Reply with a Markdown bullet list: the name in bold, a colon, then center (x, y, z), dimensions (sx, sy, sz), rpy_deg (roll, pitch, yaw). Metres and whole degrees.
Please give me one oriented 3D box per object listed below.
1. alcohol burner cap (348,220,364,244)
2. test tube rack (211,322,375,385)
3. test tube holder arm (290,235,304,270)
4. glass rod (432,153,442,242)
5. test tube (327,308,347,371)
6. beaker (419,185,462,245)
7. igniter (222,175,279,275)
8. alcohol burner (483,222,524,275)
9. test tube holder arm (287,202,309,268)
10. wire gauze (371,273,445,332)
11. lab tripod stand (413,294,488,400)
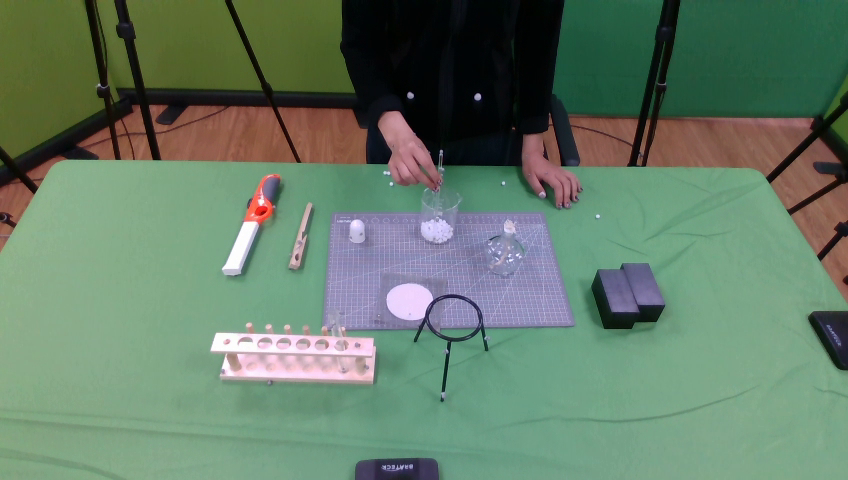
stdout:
- **alcohol burner cap**: center (-0.134, -0.019, 1.190), dimensions (0.034, 0.048, 0.033), rpy_deg (2, 46, -2)
- **test tube rack**: center (-0.202, 0.176, 0.969), dimensions (0.242, 0.085, 0.066), rpy_deg (3, 46, -2)
- **test tube holder arm**: center (-0.243, 0.021, 1.164), dimensions (0.010, 0.015, 0.087), rpy_deg (30, 39, -26)
- **glass rod**: center (0.024, -0.076, 1.142), dimensions (0.008, 0.200, 0.008), rpy_deg (3, 37, -2)
- **test tube**: center (-0.132, 0.155, 0.926), dimensions (0.017, 0.151, 0.017), rpy_deg (0, 45, 0)
- **beaker**: center (0.029, -0.047, 1.191), dimensions (0.084, 0.101, 0.073), rpy_deg (-5, 47, -10)
- **igniter**: center (-0.341, -0.039, 1.206), dimensions (0.057, 0.025, 0.275), rpy_deg (-1, 45, 9)
- **alcohol burner**: center (0.153, 0.010, 1.136), dimensions (0.078, 0.119, 0.077), rpy_deg (4, 46, -4)
- **test tube holder arm**: center (-0.247, -0.013, 1.193), dimensions (0.013, 0.015, 0.177), rpy_deg (29, 39, -27)
- **wire gauze**: center (-0.028, 0.109, 1.100), dimensions (0.125, 0.011, 0.121), rpy_deg (7, 45, 4)
- **lab tripod stand**: center (0.045, 0.159, 0.972), dimensions (0.148, 0.132, 0.147), rpy_deg (2, 44, -2)
